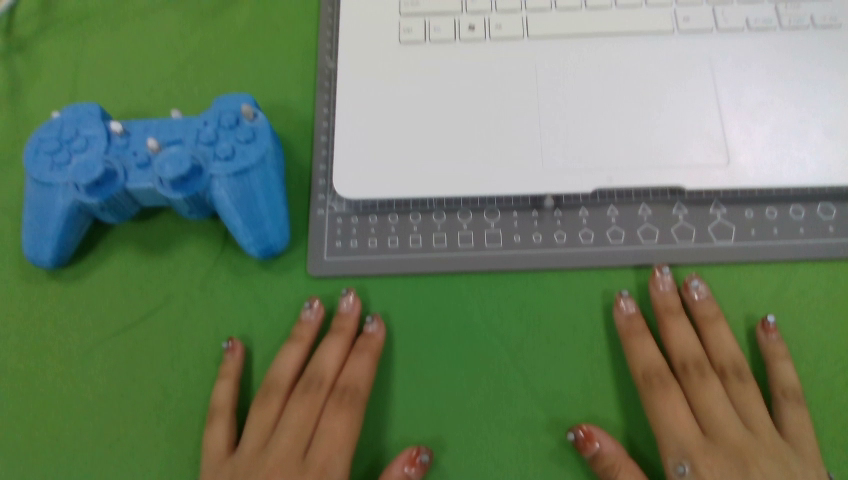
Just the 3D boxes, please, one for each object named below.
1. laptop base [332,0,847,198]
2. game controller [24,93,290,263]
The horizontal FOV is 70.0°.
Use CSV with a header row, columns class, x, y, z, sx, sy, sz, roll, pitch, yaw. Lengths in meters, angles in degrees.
class,x,y,z,sx,sy,sz,roll,pitch,yaw
laptop base,0.122,-0.136,0.390,0.354,0.023,0.234,-1,72,3
game controller,-0.156,-0.040,0.353,0.155,0.052,0.096,-2,64,2
